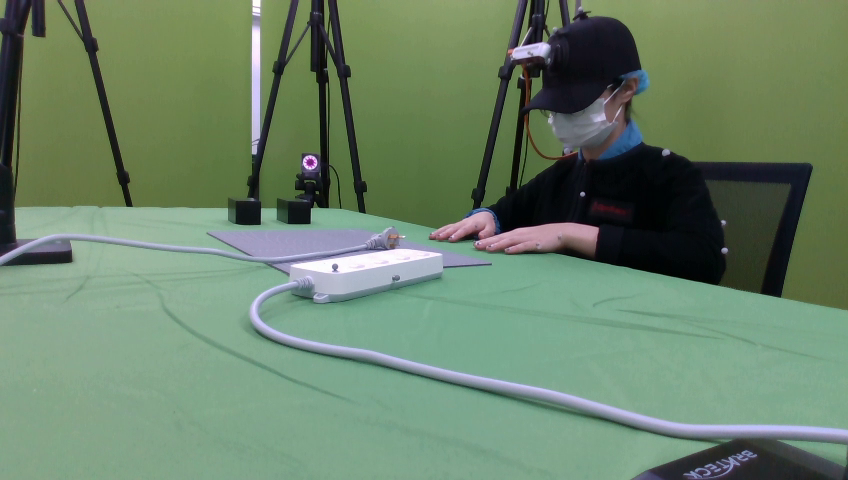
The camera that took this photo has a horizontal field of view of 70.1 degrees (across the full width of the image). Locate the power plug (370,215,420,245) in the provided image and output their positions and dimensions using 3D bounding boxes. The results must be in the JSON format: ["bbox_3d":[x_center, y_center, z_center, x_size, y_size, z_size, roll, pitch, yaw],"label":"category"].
[{"bbox_3d":[-0.050,-0.023,0.960,0.053,0.072,0.035,37,-4,-36],"label":"power plug"}]

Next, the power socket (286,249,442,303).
[{"bbox_3d":[-0.059,0.035,0.688,0.072,0.032,0.228,6,8,33],"label":"power socket"}]
